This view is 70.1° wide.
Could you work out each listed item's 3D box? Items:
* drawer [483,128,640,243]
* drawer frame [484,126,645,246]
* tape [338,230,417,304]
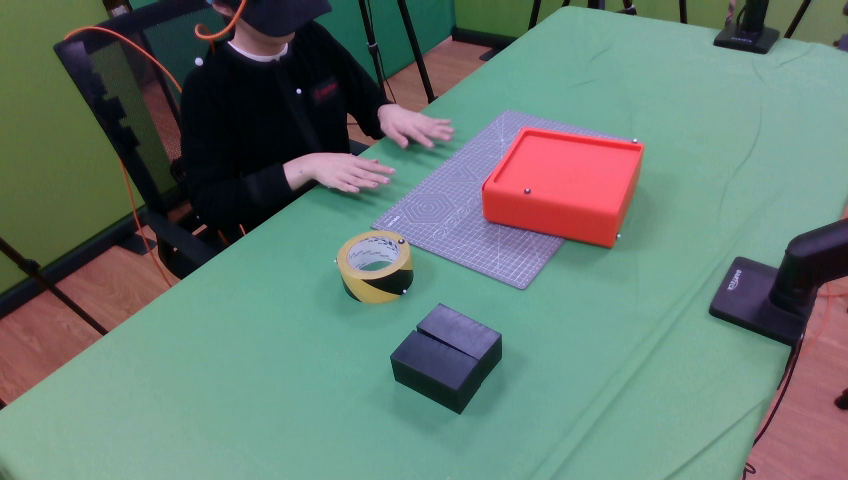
[{"bbox_3d":[0.230,-0.096,1.006,0.210,0.073,0.194,14,44,23],"label":"drawer"},{"bbox_3d":[0.234,-0.096,1.003,0.212,0.083,0.202,14,44,22],"label":"drawer frame"},{"bbox_3d":[-0.069,0.041,0.917,0.117,0.053,0.116,-4,41,4],"label":"tape"}]
